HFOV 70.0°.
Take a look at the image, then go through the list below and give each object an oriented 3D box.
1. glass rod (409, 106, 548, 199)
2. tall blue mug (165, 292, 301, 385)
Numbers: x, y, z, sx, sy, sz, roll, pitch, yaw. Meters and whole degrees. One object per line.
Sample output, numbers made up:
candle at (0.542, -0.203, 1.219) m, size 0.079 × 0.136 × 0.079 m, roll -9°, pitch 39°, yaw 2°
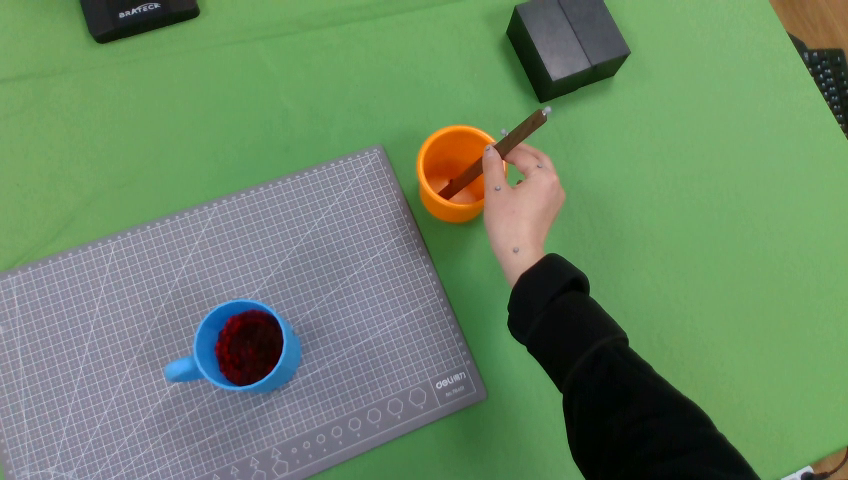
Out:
glass rod at (0.046, -0.081, 0.597) m, size 0.008 × 0.199 × 0.008 m, roll 18°, pitch 59°, yaw -33°
tall blue mug at (-0.169, 0.104, 0.556) m, size 0.077 × 0.108 × 0.107 m, roll 44°, pitch 76°, yaw 6°
